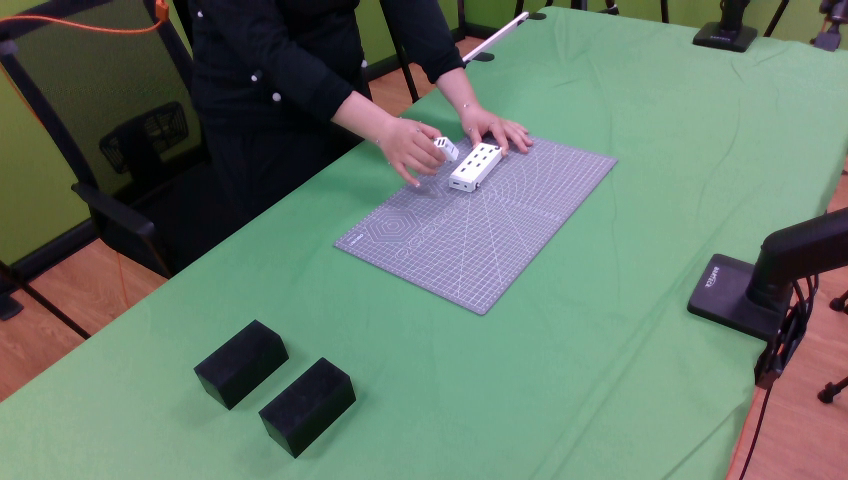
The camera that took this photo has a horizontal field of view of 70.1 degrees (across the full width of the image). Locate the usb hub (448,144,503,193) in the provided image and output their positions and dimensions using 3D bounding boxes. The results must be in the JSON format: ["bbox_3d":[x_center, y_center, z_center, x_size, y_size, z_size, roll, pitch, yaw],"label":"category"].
[{"bbox_3d":[0.096,-0.132,1.105,0.049,0.025,0.125,19,47,27],"label":"usb hub"}]

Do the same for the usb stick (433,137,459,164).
[{"bbox_3d":[0.042,-0.154,1.059,0.027,0.059,0.021,1,63,33],"label":"usb stick"}]
